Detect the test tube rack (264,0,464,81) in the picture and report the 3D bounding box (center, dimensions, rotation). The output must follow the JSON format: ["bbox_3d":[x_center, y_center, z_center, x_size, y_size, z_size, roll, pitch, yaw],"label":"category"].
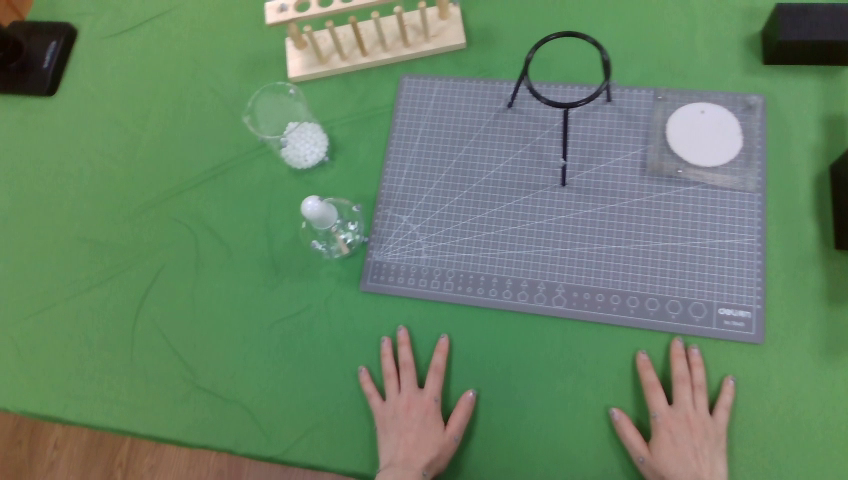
[{"bbox_3d":[-0.075,-0.281,0.788,0.242,0.086,0.066,-10,72,6],"label":"test tube rack"}]

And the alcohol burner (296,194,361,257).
[{"bbox_3d":[-0.114,-0.023,0.700,0.078,0.120,0.077,-2,71,7],"label":"alcohol burner"}]

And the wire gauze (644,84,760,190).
[{"bbox_3d":[0.328,-0.126,0.715,0.125,0.011,0.121,11,75,9],"label":"wire gauze"}]

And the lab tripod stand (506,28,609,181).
[{"bbox_3d":[0.157,-0.158,0.685,0.148,0.132,0.147,-2,74,7],"label":"lab tripod stand"}]

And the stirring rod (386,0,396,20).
[{"bbox_3d":[-0.047,-0.333,0.715,0.014,0.177,0.006,14,63,12],"label":"stirring rod"}]

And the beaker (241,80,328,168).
[{"bbox_3d":[-0.169,-0.138,0.751,0.084,0.101,0.073,-7,71,7],"label":"beaker"}]

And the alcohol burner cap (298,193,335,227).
[{"bbox_3d":[-0.121,-0.035,0.666,0.034,0.048,0.033,-2,76,8],"label":"alcohol burner cap"}]
